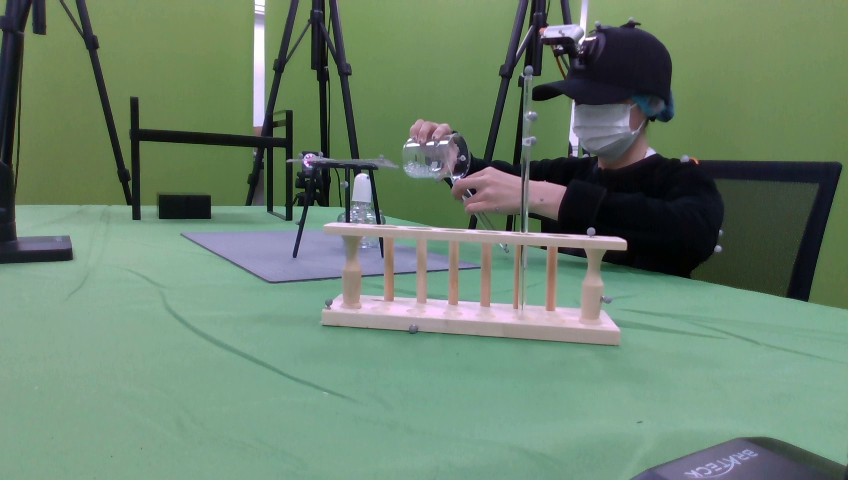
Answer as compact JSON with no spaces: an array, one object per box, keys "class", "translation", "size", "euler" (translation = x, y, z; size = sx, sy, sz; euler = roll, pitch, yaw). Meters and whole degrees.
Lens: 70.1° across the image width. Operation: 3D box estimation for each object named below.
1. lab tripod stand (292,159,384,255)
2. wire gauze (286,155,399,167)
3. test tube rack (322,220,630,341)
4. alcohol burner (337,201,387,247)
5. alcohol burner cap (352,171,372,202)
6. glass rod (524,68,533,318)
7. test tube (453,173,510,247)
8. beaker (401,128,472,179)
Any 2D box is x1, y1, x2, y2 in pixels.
[{"class":"lab tripod stand","translation":[-0.105,-0.039,0.797],"size":[0.148,0.131,0.148],"euler":[2,5,0]},{"class":"wire gauze","translation":[-0.101,-0.105,0.788],"size":[0.121,0.011,0.125],"euler":[4,6,6]},{"class":"test tube rack","translation":[0.041,0.029,0.512],"size":[0.242,0.085,0.067],"euler":[3,7,5]},{"class":"alcohol burner","translation":[-0.098,-0.049,0.954],"size":[0.078,0.119,0.078],"euler":[0,7,0]},{"class":"alcohol burner cap","translation":[-0.096,-0.084,0.951],"size":[0.034,0.048,0.034],"euler":[6,5,0]},{"class":"glass rod","translation":[0.082,-0.031,0.473],"size":[0.008,0.199,0.008],"euler":[-2,14,1]},{"class":"test tube","translation":[0.090,-0.048,0.954],"size":[0.017,0.017,0.149],"euler":[-6,54,-45]},{"class":"beaker","translation":[0.019,-0.142,1.013],"size":[0.100,0.084,0.074],"euler":[2,-6,36]}]
